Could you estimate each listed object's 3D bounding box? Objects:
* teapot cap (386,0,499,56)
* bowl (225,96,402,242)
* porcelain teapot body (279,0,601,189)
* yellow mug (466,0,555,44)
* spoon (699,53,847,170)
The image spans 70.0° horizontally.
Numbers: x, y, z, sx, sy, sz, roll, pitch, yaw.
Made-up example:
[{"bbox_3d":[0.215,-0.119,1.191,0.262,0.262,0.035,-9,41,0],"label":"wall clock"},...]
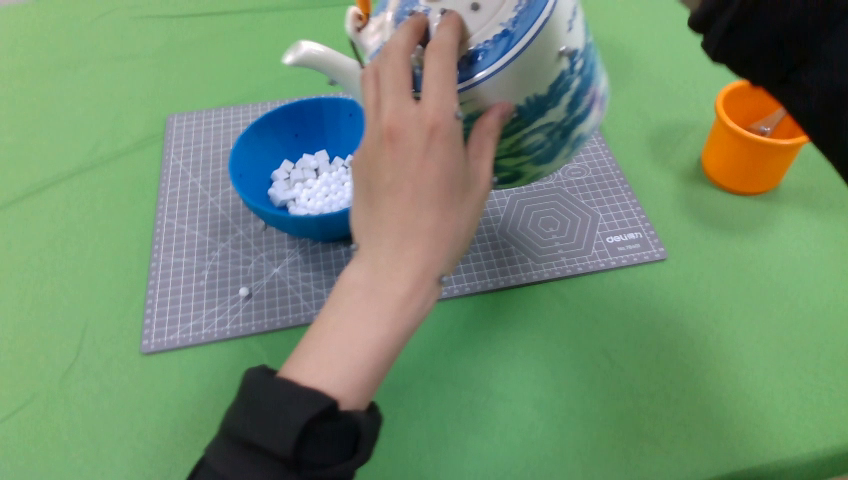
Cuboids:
[{"bbox_3d":[0.010,-0.156,0.389,0.085,0.044,0.084,-13,63,27],"label":"teapot cap"},{"bbox_3d":[-0.092,-0.051,0.544,0.151,0.077,0.150,-1,51,2],"label":"bowl"},{"bbox_3d":[0.004,-0.135,0.431,0.205,0.228,0.144,-15,60,23],"label":"porcelain teapot body"},{"bbox_3d":[0.090,-0.264,0.655,0.099,0.064,0.130,18,56,16],"label":"yellow mug"},{"bbox_3d":[0.340,-0.128,0.549,0.022,0.194,0.041,23,37,-38],"label":"spoon"}]
